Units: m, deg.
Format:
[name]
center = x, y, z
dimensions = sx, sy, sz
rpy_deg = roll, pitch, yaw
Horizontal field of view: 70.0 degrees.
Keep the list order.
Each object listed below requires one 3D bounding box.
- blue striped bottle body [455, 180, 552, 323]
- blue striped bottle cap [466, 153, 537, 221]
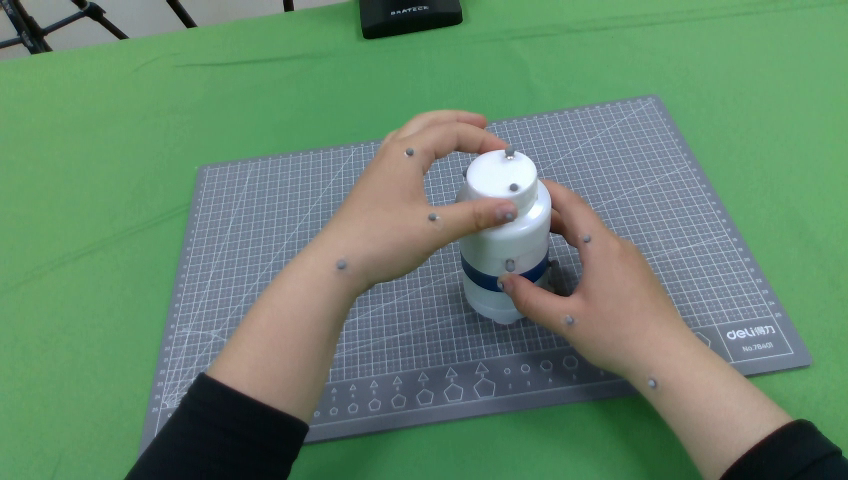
[blue striped bottle body]
center = 0.055, -0.001, 0.413
dimensions = 0.063, 0.122, 0.062
rpy_deg = -4, 50, 5
[blue striped bottle cap]
center = 0.047, -0.033, 0.374
dimensions = 0.044, 0.021, 0.044
rpy_deg = -2, 48, 3
